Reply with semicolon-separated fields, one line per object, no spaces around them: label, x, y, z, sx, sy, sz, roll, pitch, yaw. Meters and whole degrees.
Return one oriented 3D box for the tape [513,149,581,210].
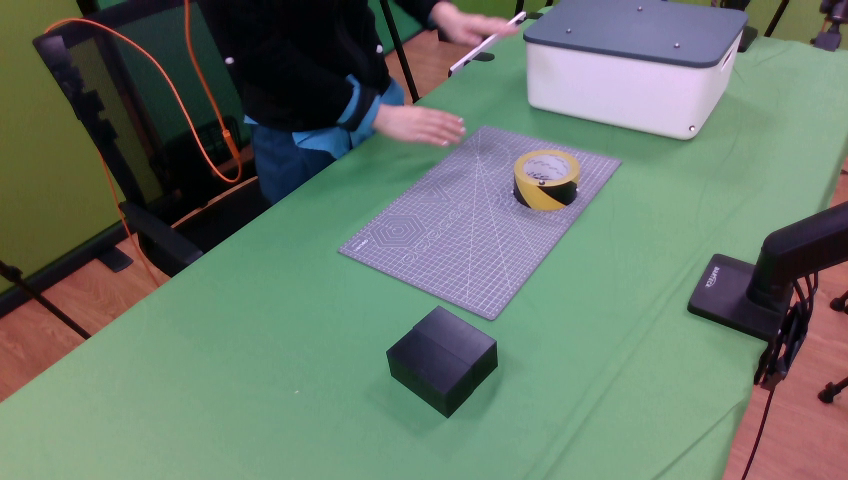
tape;0.208;-0.104;1.032;0.117;0.053;0.116;-4;40;4

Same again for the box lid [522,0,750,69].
box lid;0.405;-0.409;1.162;0.369;0.015;0.264;20;47;29

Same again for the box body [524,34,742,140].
box body;0.412;-0.354;1.212;0.361;0.161;0.254;20;48;29
